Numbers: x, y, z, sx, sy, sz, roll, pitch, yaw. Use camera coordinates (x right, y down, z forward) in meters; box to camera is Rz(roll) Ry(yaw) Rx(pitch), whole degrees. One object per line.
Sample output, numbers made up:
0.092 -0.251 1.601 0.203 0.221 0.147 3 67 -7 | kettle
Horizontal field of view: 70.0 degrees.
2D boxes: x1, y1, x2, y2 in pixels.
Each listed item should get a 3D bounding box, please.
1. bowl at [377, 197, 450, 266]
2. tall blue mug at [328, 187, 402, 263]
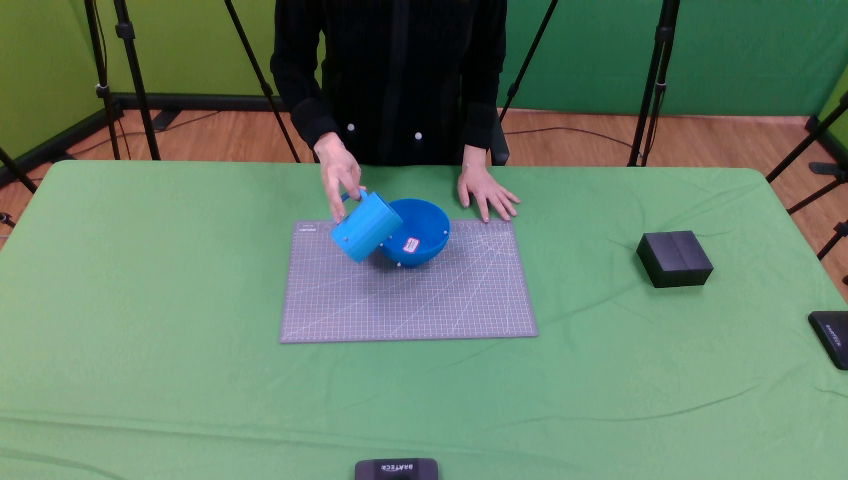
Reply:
-0.028 -0.003 1.156 0.151 0.077 0.150 2 46 -2 | bowl
-0.114 -0.035 1.061 0.108 0.107 0.077 -43 12 3 | tall blue mug
